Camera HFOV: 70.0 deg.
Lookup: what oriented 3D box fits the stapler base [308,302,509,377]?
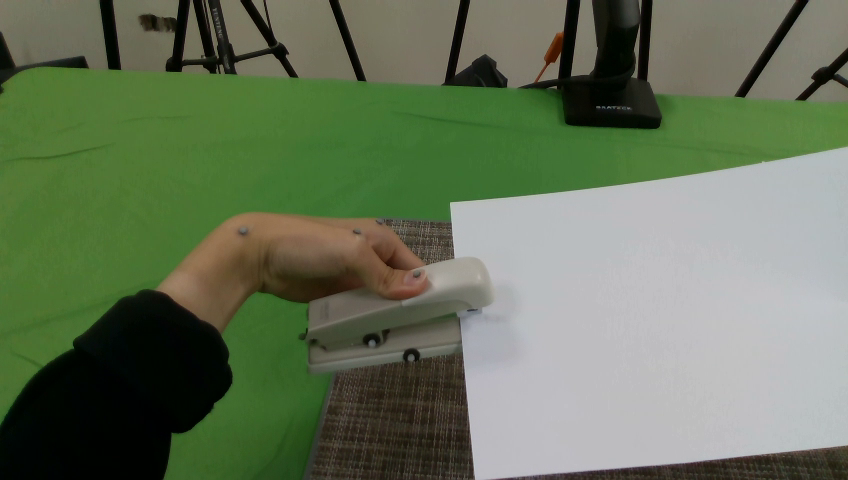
[{"bbox_3d":[-0.012,0.056,0.385,0.130,0.025,0.041,-9,43,-1],"label":"stapler base"}]

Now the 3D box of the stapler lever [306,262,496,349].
[{"bbox_3d":[-0.015,0.040,0.368,0.118,0.040,0.026,-8,43,-2],"label":"stapler lever"}]
